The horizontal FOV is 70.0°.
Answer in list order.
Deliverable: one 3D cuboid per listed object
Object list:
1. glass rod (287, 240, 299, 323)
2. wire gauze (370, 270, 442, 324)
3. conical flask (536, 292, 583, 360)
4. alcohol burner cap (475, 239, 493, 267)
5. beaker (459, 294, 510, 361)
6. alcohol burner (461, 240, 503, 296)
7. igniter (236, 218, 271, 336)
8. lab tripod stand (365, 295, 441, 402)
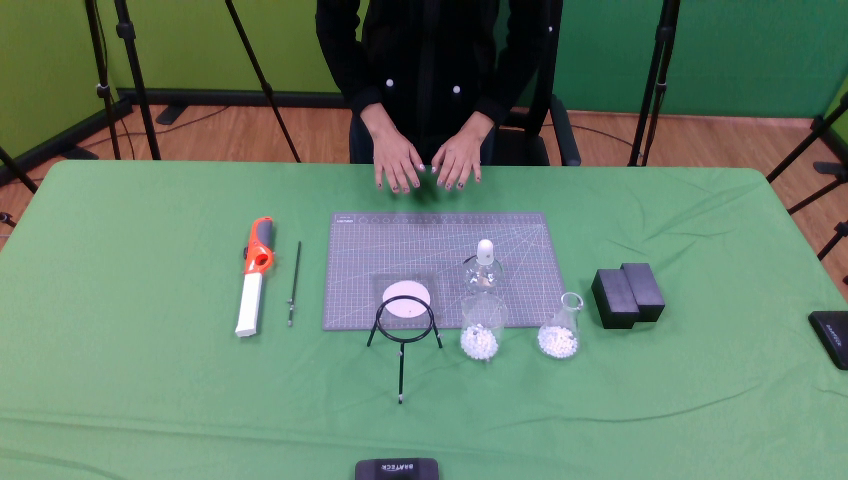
[{"bbox_3d":[-0.242,0.072,1.120,0.008,0.008,0.198,-1,47,-5],"label":"glass rod"},{"bbox_3d":[-0.035,0.104,1.103,0.125,0.011,0.120,-3,46,-5],"label":"wire gauze"},{"bbox_3d":[0.234,0.139,1.015,0.075,0.122,0.075,2,46,-2],"label":"conical flask"},{"bbox_3d":[0.107,0.020,1.071,0.034,0.048,0.033,-2,46,2],"label":"alcohol burner cap"},{"bbox_3d":[0.095,0.147,1.012,0.083,0.101,0.074,26,49,21],"label":"beaker"},{"bbox_3d":[0.107,0.045,1.098,0.078,0.120,0.077,1,44,-1],"label":"alcohol burner"},{"bbox_3d":[-0.312,0.058,1.115,0.057,0.025,0.274,-9,46,2],"label":"igniter"},{"bbox_3d":[-0.031,0.160,0.966,0.148,0.132,0.147,3,44,-2],"label":"lab tripod stand"}]
